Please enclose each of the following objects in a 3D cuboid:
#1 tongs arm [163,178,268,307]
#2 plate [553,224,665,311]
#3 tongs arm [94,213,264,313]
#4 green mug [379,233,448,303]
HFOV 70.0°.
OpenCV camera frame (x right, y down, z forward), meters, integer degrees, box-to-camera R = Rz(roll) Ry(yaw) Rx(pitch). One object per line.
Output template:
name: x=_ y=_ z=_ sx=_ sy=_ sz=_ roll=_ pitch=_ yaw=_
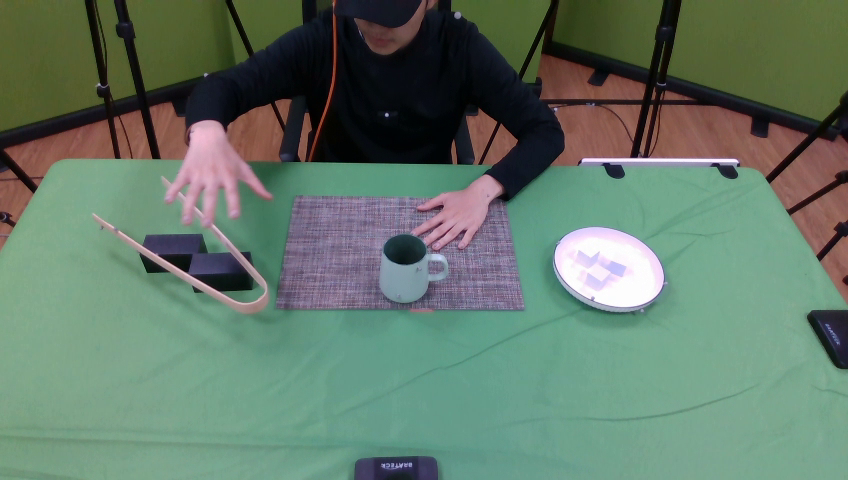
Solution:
tongs arm: x=-0.387 y=-0.008 z=1.108 sx=0.028 sy=0.028 sz=0.385 roll=-27 pitch=53 yaw=-35
plate: x=0.349 y=0.055 z=1.159 sx=0.209 sy=0.038 sz=0.208 roll=2 pitch=47 yaw=-2
tongs arm: x=-0.437 y=0.031 z=1.063 sx=0.383 sy=0.026 sz=0.050 roll=29 pitch=47 yaw=22
green mug: x=-0.019 y=0.050 z=1.084 sx=0.125 sy=0.105 sz=0.092 roll=-1 pitch=46 yaw=-4
